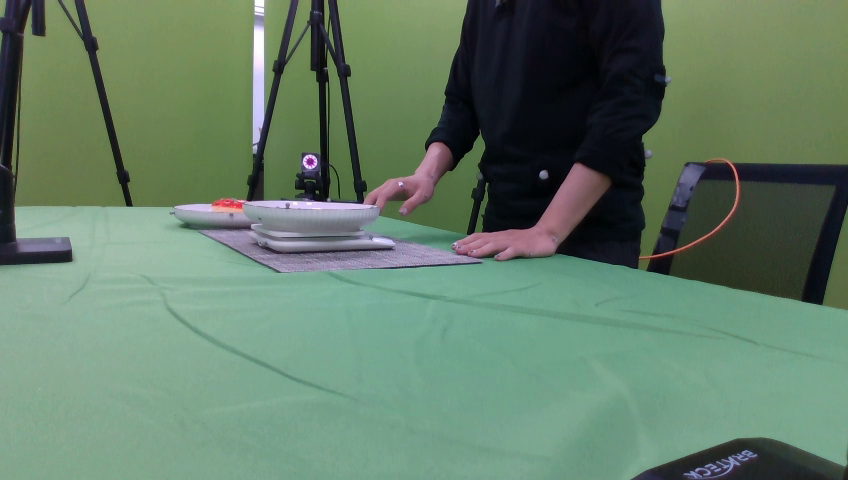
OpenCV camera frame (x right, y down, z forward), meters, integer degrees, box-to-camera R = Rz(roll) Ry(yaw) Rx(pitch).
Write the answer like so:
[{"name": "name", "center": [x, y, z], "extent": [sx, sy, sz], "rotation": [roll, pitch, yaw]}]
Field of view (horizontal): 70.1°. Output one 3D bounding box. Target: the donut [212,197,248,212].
[{"name": "donut", "center": [-0.376, -0.061, 1.220], "extent": [0.099, 0.048, 0.099], "rotation": [5, 4, 0]}]

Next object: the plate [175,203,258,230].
[{"name": "plate", "center": [-0.380, -0.047, 1.199], "extent": [0.208, 0.039, 0.207], "rotation": [2, 7, 0]}]

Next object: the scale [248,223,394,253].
[{"name": "scale", "center": [-0.162, -0.006, 0.954], "extent": [0.202, 0.031, 0.148], "rotation": [-1, 8, -32]}]

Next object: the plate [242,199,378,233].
[{"name": "plate", "center": [-0.176, -0.038, 0.939], "extent": [0.209, 0.038, 0.209], "rotation": [3, 7, 0]}]

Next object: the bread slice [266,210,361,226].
[{"name": "bread slice", "center": [-0.174, -0.035, 0.934], "extent": [0.132, 0.019, 0.104], "rotation": [-1, 7, -28]}]
